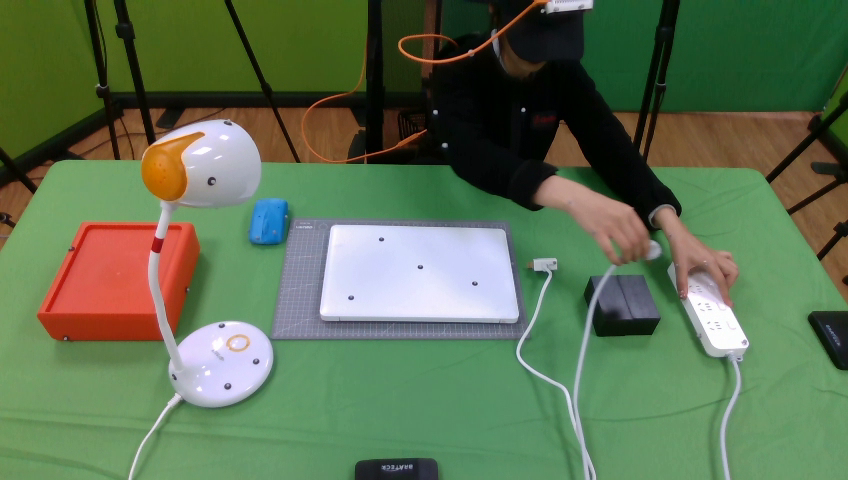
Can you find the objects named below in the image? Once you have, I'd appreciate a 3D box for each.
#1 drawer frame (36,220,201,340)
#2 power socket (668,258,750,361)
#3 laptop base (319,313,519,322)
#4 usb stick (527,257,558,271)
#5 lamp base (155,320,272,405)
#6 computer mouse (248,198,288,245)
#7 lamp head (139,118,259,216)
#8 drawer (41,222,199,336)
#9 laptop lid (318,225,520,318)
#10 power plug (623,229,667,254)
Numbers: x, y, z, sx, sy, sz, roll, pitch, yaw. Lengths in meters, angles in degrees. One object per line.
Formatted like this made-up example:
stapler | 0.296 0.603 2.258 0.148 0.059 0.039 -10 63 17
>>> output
drawer frame | -0.518 0.065 1.055 0.202 0.083 0.212 0 47 -5
power socket | 0.517 0.118 1.110 0.072 0.033 0.225 -2 46 -5
laptop base | -0.009 0.063 1.137 0.354 0.023 0.234 1 42 -3
usb stick | 0.226 0.046 1.160 0.059 0.021 0.027 -3 9 9
lamp base | -0.330 0.149 0.918 0.160 0.181 0.179 26 52 20
computer mouse | -0.309 -0.041 1.205 0.063 0.041 0.116 3 50 -3
lamp head | -0.281 -0.086 0.734 0.112 0.113 0.123 21 25 16
drawer | -0.519 0.064 1.057 0.195 0.073 0.210 1 46 -4
laptop lid | -0.009 0.052 1.130 0.357 0.013 0.240 2 43 -2
power plug | 0.368 -0.001 0.994 0.053 0.073 0.035 -43 52 18
